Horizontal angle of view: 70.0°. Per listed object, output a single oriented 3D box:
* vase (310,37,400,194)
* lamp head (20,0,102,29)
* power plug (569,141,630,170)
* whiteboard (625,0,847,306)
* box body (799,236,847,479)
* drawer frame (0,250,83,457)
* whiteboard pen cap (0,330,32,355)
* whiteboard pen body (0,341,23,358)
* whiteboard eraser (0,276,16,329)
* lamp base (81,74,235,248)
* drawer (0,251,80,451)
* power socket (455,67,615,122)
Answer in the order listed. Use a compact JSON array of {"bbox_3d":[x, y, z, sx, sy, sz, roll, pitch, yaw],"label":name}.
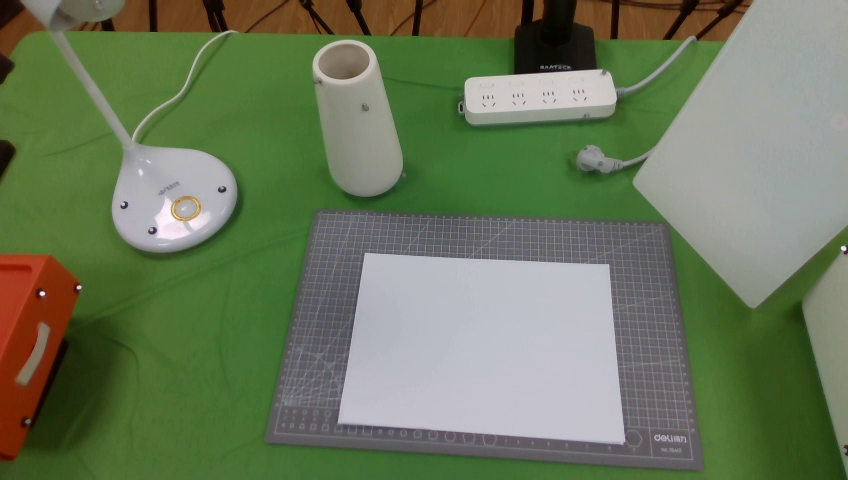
[{"bbox_3d":[-0.085,-0.145,0.735,0.098,0.202,0.097,-2,58,3],"label":"vase"},{"bbox_3d":[-0.308,-0.249,0.481,0.123,0.112,0.112,43,63,-17],"label":"lamp head"},{"bbox_3d":[0.229,-0.108,0.806,0.073,0.035,0.052,14,21,-34],"label":"power plug"},{"bbox_3d":[0.410,-0.113,0.666,0.144,0.307,0.215,-16,57,-29],"label":"whiteboard"},{"bbox_3d":[0.528,0.164,0.541,0.254,0.162,0.361,1,59,4],"label":"box body"},{"bbox_3d":[-0.503,0.111,0.622,0.213,0.083,0.200,1,60,2],"label":"drawer frame"},{"bbox_3d":[-0.437,0.109,0.641,0.033,0.018,0.018,-24,60,-16],"label":"whiteboard pen cap"},{"bbox_3d":[-0.488,0.133,0.623,0.141,0.017,0.017,-22,60,-14],"label":"whiteboard pen body"},{"bbox_3d":[-0.501,0.086,0.676,0.112,0.042,0.055,-27,67,21],"label":"whiteboard eraser"},{"bbox_3d":[-0.342,-0.105,0.734,0.178,0.182,0.160,32,65,23],"label":"lamp base"},{"bbox_3d":[-0.497,0.107,0.619,0.212,0.074,0.193,1,60,3],"label":"drawer"},{"bbox_3d":[0.157,-0.206,0.858,0.227,0.033,0.071,-2,59,1],"label":"power socket"}]
